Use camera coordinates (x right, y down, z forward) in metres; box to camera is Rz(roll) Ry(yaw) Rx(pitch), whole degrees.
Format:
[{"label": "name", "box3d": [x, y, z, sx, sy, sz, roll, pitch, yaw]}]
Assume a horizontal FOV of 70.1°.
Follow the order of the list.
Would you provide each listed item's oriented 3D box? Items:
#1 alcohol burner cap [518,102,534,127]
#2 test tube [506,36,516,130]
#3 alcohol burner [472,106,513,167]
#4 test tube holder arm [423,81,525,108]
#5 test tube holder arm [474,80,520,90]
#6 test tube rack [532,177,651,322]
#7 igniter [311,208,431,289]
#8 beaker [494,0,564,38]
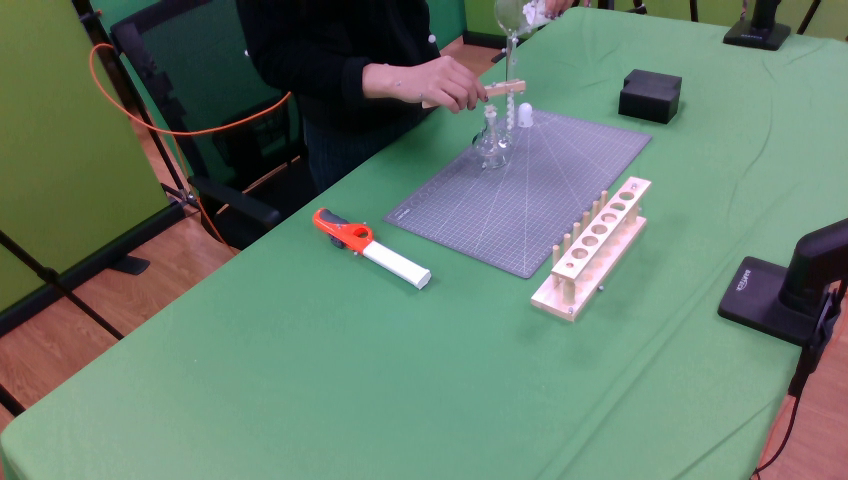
[{"label": "alcohol burner cap", "box3d": [0.205, -0.255, 1.223, 0.034, 0.048, 0.033, -6, 40, 6]}, {"label": "test tube", "box3d": [0.141, -0.252, 0.980, 0.017, 0.150, 0.017, -2, 28, 2]}, {"label": "alcohol burner", "box3d": [0.126, -0.194, 1.111, 0.078, 0.119, 0.077, -5, 42, 5]}, {"label": "test tube holder arm", "box3d": [0.081, -0.231, 0.953, 0.179, 0.015, 0.013, -16, 25, -21]}, {"label": "test tube holder arm", "box3d": [0.118, -0.244, 0.975, 0.088, 0.015, 0.010, -19, 27, -27]}, {"label": "test tube rack", "box3d": [0.248, 0.002, 0.883, 0.066, 0.085, 0.243, 22, 49, 32]}, {"label": "igniter", "box3d": [-0.096, 0.008, 0.985, 0.274, 0.025, 0.057, 28, 63, 36]}, {"label": "beaker", "box3d": [0.168, -0.368, 0.952, 0.073, 0.084, 0.101, 30, 43, 26]}]
